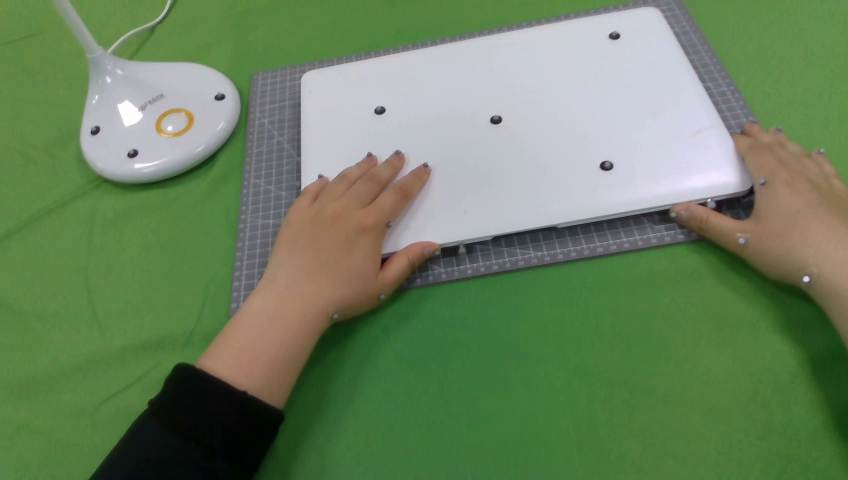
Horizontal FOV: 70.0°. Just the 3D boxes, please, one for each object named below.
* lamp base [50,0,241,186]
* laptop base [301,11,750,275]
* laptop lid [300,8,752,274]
[{"bbox_3d":[-0.283,-0.165,0.549,0.178,0.182,0.160,23,61,27],"label":"lamp base"},{"bbox_3d":[0.065,-0.093,0.535,0.354,0.023,0.233,-10,57,3],"label":"laptop base"},{"bbox_3d":[0.064,-0.098,0.525,0.356,0.013,0.239,-9,56,4],"label":"laptop lid"}]
